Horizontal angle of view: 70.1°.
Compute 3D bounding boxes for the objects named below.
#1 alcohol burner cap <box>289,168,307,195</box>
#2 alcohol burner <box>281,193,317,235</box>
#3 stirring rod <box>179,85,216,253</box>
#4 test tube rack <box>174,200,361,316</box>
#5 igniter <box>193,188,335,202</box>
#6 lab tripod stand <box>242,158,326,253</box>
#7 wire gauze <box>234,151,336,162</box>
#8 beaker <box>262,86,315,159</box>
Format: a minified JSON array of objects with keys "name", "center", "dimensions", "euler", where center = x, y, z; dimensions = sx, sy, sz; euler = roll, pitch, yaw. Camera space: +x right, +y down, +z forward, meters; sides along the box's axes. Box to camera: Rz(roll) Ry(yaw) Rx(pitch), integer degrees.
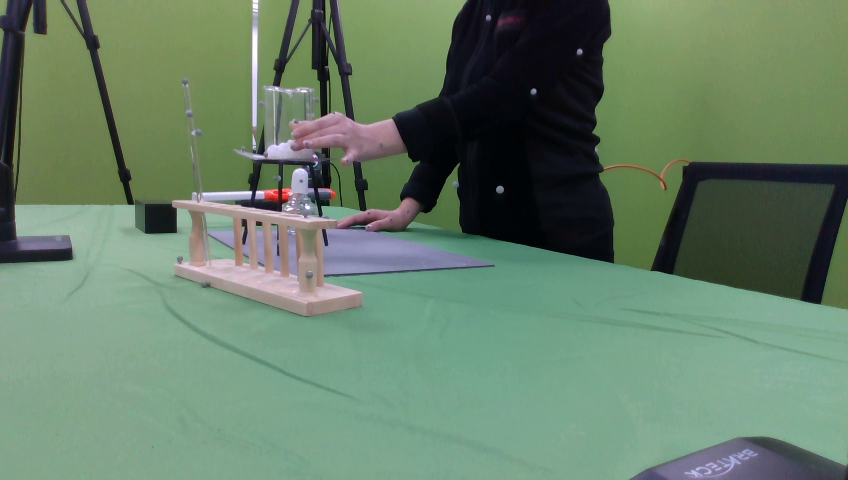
[{"name":"alcohol burner cap","center":[-0.224,-0.105,1.081],"dimensions":[0.034,0.048,0.034],"euler":[4,3,0]},{"name":"alcohol burner","center":[-0.225,-0.069,1.086],"dimensions":[0.078,0.119,0.078],"euler":[2,6,0]},{"name":"stirring rod","center":[-0.237,-0.073,0.634],"dimensions":[0.006,0.176,0.014],"euler":[0,9,41]},{"name":"test tube rack","center":[-0.169,0.009,0.622],"dimensions":[0.241,0.085,0.067],"euler":[9,9,41]},{"name":"igniter","center":[-0.313,-0.089,1.209],"dimensions":[0.278,0.025,0.057],"euler":[-5,13,-31]},{"name":"lab tripod stand","center":[-0.207,-0.054,0.895],"dimensions":[0.148,0.131,0.148],"euler":[2,5,0]},{"name":"wire gauze","center":[-0.204,-0.120,0.887],"dimensions":[0.122,0.011,0.124],"euler":[0,7,-31]},{"name":"beaker","center":[-0.194,-0.168,0.870],"dimensions":[0.074,0.100,0.083],"euler":[-2,12,-14]}]
